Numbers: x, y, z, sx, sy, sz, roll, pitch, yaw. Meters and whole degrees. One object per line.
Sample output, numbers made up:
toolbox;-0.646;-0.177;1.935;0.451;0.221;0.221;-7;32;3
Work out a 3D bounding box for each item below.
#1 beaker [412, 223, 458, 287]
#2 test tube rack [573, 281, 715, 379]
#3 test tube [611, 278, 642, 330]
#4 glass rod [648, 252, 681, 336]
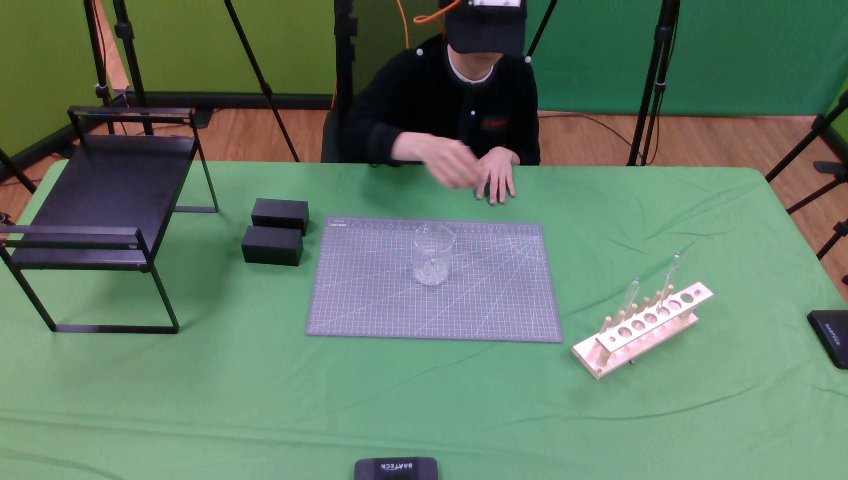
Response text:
beaker;0.018;0.030;1.109;0.084;0.101;0.073;-10;48;-14
test tube rack;0.378;0.140;1.038;0.242;0.085;0.066;-22;51;-23
test tube;0.332;0.113;0.999;0.017;0.151;0.017;1;48;-1
glass rod;0.392;0.093;0.992;0.008;0.201;0.008;-1;43;1
